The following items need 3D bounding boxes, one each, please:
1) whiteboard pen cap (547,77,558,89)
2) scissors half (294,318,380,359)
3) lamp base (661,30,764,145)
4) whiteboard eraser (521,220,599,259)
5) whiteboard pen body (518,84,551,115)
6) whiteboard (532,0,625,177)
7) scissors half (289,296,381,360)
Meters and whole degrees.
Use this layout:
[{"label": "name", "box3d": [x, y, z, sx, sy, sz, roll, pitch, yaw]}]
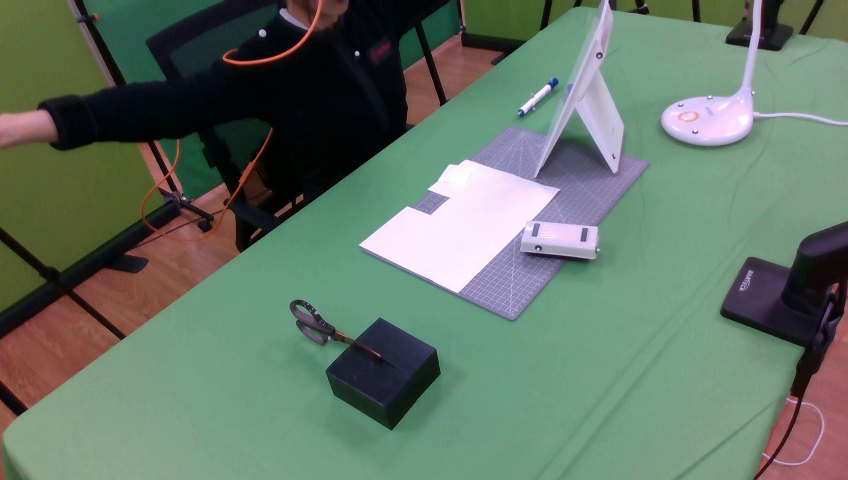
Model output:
[{"label": "whiteboard pen cap", "box3d": [0.279, -0.341, 1.321, 0.018, 0.018, 0.033, 22, 51, 31]}, {"label": "scissors half", "box3d": [-0.118, 0.135, 0.809, 0.173, 0.040, 0.013, 9, 37, 44]}, {"label": "lamp base", "box3d": [0.535, -0.287, 1.096, 0.179, 0.181, 0.159, -10, 40, -4]}, {"label": "whiteboard eraser", "box3d": [0.208, 0.001, 0.922, 0.112, 0.042, 0.055, 6, 41, 17]}, {"label": "whiteboard pen body", "box3d": [0.242, -0.306, 1.289, 0.017, 0.017, 0.141, 24, 52, 33]}, {"label": "whiteboard", "box3d": [0.320, -0.259, 1.050, 0.144, 0.306, 0.217, 21, 45, 5]}, {"label": "scissors half", "box3d": [-0.120, 0.117, 0.798, 0.174, 0.040, 0.013, 27, 43, 31]}]
